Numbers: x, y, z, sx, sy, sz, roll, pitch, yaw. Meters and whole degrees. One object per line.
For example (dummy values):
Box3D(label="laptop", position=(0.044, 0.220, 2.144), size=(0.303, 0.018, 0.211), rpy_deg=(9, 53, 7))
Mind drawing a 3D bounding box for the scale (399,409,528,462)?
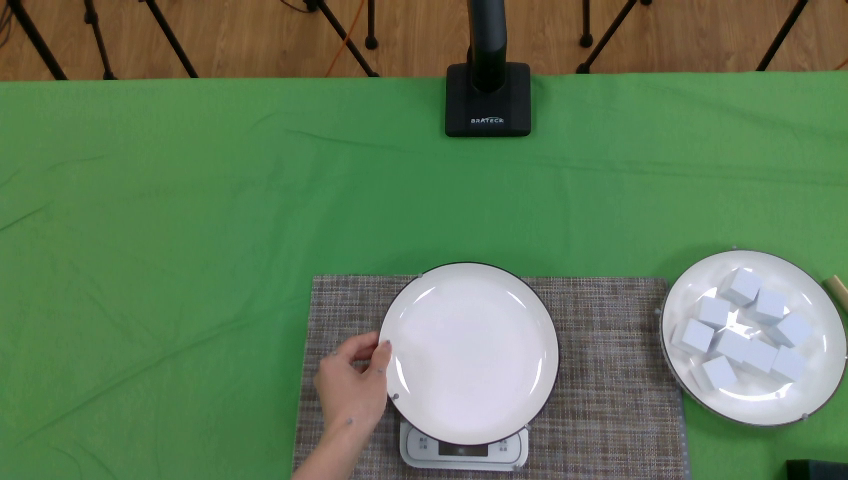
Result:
Box3D(label="scale", position=(0.047, 0.158, 0.722), size=(0.148, 0.032, 0.199), rpy_deg=(0, 71, 5))

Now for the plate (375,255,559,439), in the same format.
Box3D(label="plate", position=(0.049, 0.120, 0.698), size=(0.209, 0.038, 0.208), rpy_deg=(-1, 72, 3))

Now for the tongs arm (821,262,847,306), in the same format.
Box3D(label="tongs arm", position=(0.583, 0.185, 0.676), size=(0.028, 0.028, 0.384), rpy_deg=(-28, 72, -8))

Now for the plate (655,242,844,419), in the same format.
Box3D(label="plate", position=(0.376, 0.105, 0.715), size=(0.207, 0.039, 0.206), rpy_deg=(-1, 71, 4))
